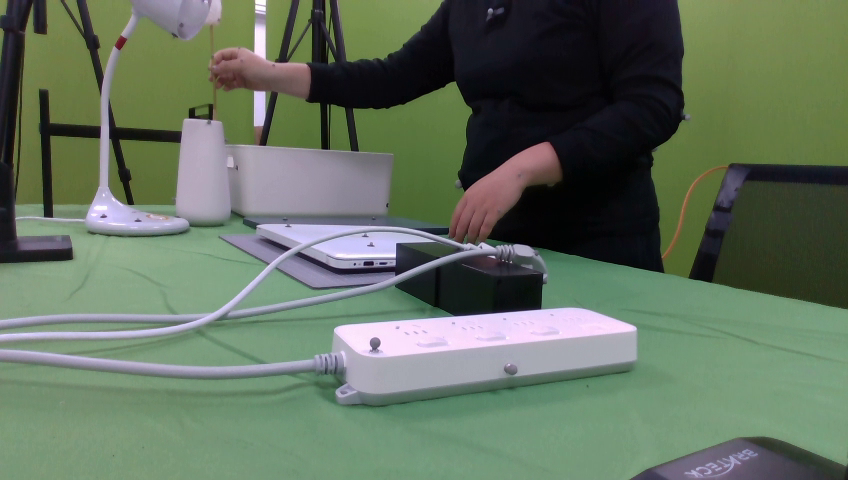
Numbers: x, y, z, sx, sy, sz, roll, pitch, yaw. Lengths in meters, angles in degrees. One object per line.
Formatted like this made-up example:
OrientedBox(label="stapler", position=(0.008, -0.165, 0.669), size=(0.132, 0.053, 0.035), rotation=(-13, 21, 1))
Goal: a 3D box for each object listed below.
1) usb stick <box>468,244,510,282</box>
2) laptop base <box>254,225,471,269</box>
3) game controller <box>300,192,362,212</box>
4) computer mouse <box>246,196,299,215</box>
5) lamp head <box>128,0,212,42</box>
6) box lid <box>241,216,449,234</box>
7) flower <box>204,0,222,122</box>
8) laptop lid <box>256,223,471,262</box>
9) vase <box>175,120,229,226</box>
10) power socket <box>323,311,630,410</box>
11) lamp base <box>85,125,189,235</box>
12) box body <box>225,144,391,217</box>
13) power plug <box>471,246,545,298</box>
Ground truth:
OrientedBox(label="usb stick", position=(0.079, 0.028, 0.673), size=(0.059, 0.021, 0.027), rotation=(26, 29, -29))
OrientedBox(label="laptop base", position=(-0.096, 0.010, 0.911), size=(0.237, 0.023, 0.352), rotation=(3, 6, -32))
OrientedBox(label="game controller", position=(-0.241, -0.097, 1.549), size=(0.155, 0.051, 0.097), rotation=(2, 6, 4))
OrientedBox(label="computer mouse", position=(-0.355, -0.082, 1.417), size=(0.117, 0.041, 0.063), rotation=(1, 9, 7))
OrientedBox(label="lamp head", position=(-0.423, -0.394, 0.980), size=(0.123, 0.112, 0.112), rotation=(20, 7, -3))
OrientedBox(label="box lid", position=(-0.162, -0.030, 1.233), size=(0.373, 0.015, 0.262), rotation=(-1, 8, -32))
OrientedBox(label="flower", position=(-0.404, -0.286, 1.163), size=(0.038, 0.361, 0.044), rotation=(-4, 8, -32))
OrientedBox(label="laptop lid", position=(-0.093, 0.000, 0.911), size=(0.243, 0.013, 0.355), rotation=(1, 7, -30))
OrientedBox(label="vase", position=(-0.425, -0.128, 1.158), size=(0.098, 0.200, 0.098), rotation=(2, 9, 0))
OrientedBox(label="power socket", position=(0.041, 0.075, 0.410), size=(0.228, 0.032, 0.072), rotation=(-1, 8, -26))
OrientedBox(label="lamp base", position=(-0.498, -0.105, 1.026), size=(0.179, 0.180, 0.160), rotation=(1, 7, 3))
OrientedBox(label="box body", position=(-0.290, -0.143, 1.474), size=(0.366, 0.160, 0.253), rotation=(-1, 9, -29))
OrientedBox(label="power plug", position=(0.081, 0.030, 0.584), size=(0.072, 0.052, 0.035), rotation=(12, 28, 9))
